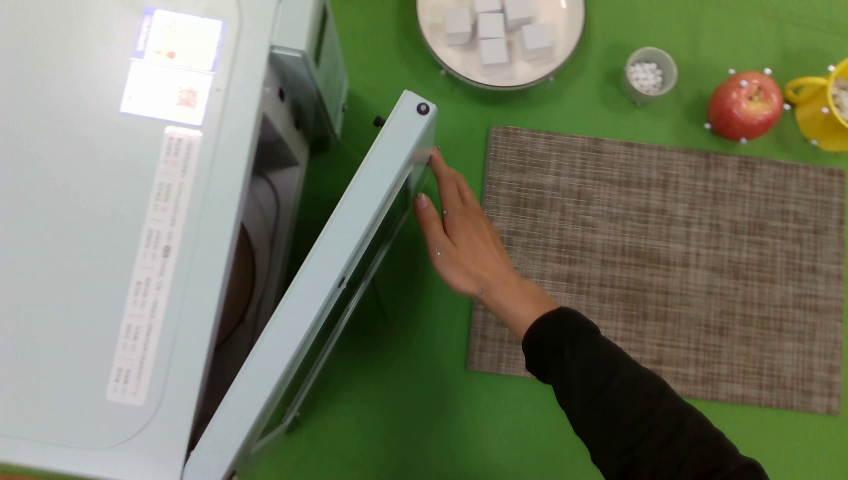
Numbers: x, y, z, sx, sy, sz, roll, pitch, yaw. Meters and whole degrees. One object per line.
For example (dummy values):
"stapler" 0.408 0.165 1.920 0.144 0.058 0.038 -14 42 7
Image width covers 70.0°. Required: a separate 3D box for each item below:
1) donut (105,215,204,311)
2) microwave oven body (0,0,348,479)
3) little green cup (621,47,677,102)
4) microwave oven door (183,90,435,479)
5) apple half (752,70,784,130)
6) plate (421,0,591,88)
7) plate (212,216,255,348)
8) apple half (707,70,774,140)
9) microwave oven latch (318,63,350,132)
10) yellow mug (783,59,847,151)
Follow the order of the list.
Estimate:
"donut" -0.276 0.024 0.623 0.099 0.048 0.099 0 85 -1
"microwave oven body" -0.280 -0.036 0.591 0.326 0.260 0.440 10 83 -1
"little green cup" 0.276 -0.202 0.750 0.061 0.039 0.061 0 83 -2
"microwave oven door" -0.091 0.049 0.584 0.039 0.244 0.355 29 83 3
"apple half" 0.410 -0.170 0.733 0.033 0.081 0.081 -20 84 0
"plate" 0.100 -0.285 0.753 0.208 0.039 0.207 0 83 -2
"plate" -0.281 0.031 0.636 0.209 0.038 0.208 0 83 -2
"apple half" 0.373 -0.157 0.732 0.053 0.075 0.080 -19 87 0
"microwave oven latch" -0.107 -0.170 0.711 0.030 0.029 0.079 13 83 -1
"yellow mug" 0.509 -0.171 0.742 0.131 0.064 0.099 18 82 1
